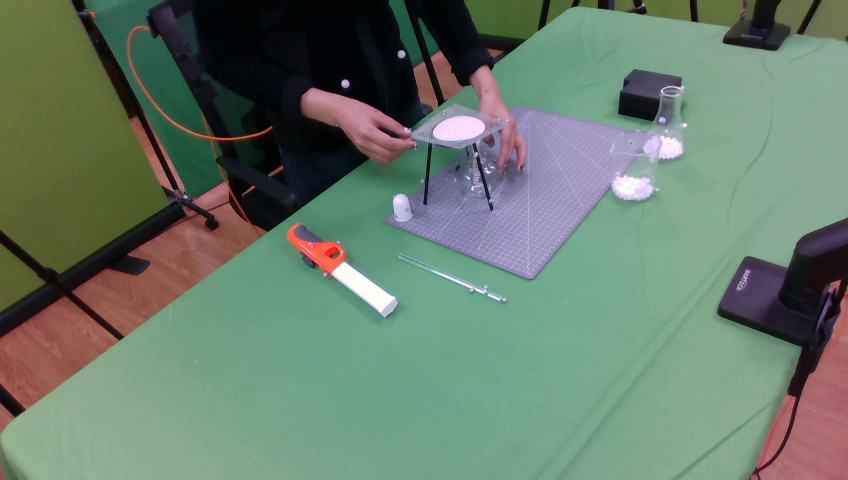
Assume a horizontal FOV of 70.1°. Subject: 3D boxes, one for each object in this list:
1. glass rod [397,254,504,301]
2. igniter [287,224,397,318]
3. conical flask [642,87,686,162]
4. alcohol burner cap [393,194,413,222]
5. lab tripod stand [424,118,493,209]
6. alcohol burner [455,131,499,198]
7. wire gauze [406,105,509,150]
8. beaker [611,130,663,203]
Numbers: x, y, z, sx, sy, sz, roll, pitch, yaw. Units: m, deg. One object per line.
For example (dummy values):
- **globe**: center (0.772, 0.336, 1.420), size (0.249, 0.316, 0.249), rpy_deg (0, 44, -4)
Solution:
- **glass rod**: center (0.036, 0.054, 0.922), size (0.198, 0.008, 0.008), rpy_deg (22, 50, 31)
- **igniter**: center (-0.139, 0.042, 0.958), size (0.057, 0.025, 0.274), rpy_deg (-42, 49, -19)
- **conical flask**: center (0.429, -0.206, 1.067), size (0.075, 0.122, 0.075), rpy_deg (-6, 40, 6)
- **alcohol burner cap**: center (-0.039, -0.057, 1.038), size (0.034, 0.048, 0.033), rpy_deg (-5, 40, 5)
- **lab tripod stand**: center (0.061, -0.133, 1.038), size (0.148, 0.132, 0.147), rpy_deg (-6, 38, 6)
- **alcohol burner**: center (0.091, -0.134, 1.050), size (0.078, 0.119, 0.077), rpy_deg (-5, 38, 5)
- **wire gauze**: center (0.055, -0.185, 0.996), size (0.120, 0.011, 0.125), rpy_deg (26, 49, 38)
- **beaker**: center (0.346, -0.118, 0.998), size (0.084, 0.101, 0.073), rpy_deg (-17, 40, -7)
